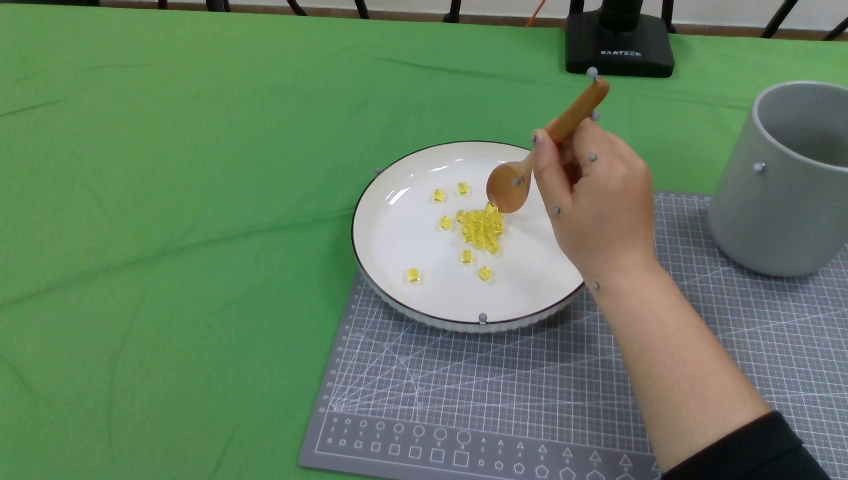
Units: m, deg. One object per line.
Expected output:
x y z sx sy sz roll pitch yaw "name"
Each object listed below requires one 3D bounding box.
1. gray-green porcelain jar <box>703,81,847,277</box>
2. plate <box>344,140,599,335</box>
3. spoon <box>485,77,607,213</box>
0.287 -0.042 0.476 0.106 0.127 0.105 -1 49 2 "gray-green porcelain jar"
0.039 -0.004 0.511 0.208 0.039 0.205 0 49 1 "plate"
0.082 -0.062 0.443 0.021 0.194 0.041 -26 81 -16 "spoon"
